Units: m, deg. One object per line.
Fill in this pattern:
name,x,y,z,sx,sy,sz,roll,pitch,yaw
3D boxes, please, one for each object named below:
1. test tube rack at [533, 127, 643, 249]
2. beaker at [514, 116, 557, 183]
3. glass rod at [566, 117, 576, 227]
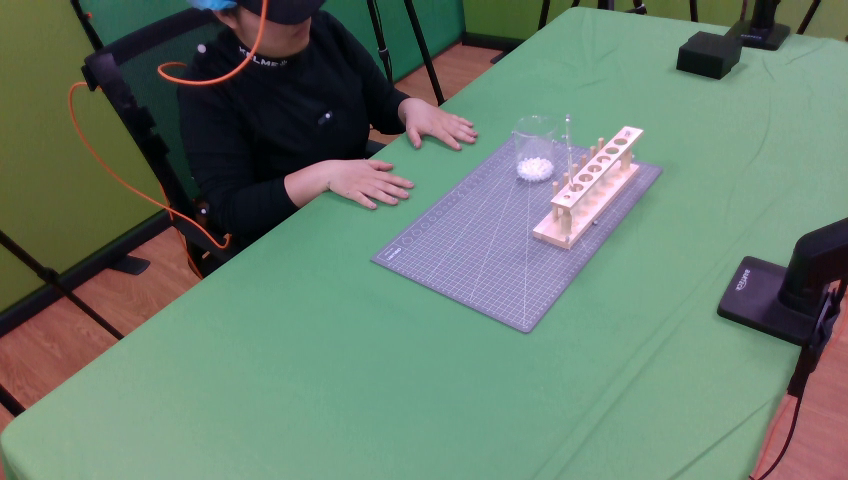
test tube rack,0.271,-0.094,0.990,0.066,0.085,0.243,23,50,33
beaker,0.199,-0.161,1.072,0.073,0.101,0.084,8,42,19
glass rod,0.218,-0.094,0.895,0.008,0.201,0.008,-9,41,8
